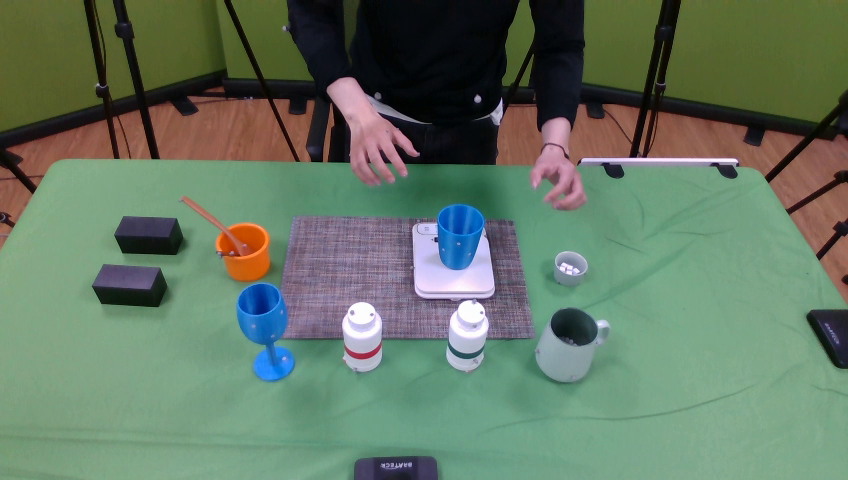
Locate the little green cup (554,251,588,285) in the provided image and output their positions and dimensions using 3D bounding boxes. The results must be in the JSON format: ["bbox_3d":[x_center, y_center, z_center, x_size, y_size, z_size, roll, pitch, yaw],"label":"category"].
[{"bbox_3d":[0.276,0.055,1.151,0.061,0.039,0.061,1,46,-1],"label":"little green cup"}]

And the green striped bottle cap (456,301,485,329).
[{"bbox_3d":[0.073,0.116,0.943,0.044,0.020,0.044,3,46,-3],"label":"green striped bottle cap"}]

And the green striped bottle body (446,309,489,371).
[{"bbox_3d":[0.070,0.155,0.984,0.063,0.120,0.063,2,46,-2],"label":"green striped bottle body"}]

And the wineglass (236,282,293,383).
[{"bbox_3d":[-0.243,0.143,0.934,0.074,0.173,0.073,2,46,-2],"label":"wineglass"}]

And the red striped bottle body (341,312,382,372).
[{"bbox_3d":[-0.100,0.154,0.972,0.063,0.120,0.062,2,46,-1],"label":"red striped bottle body"}]

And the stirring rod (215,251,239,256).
[{"bbox_3d":[-0.339,0.024,1.059,0.014,0.176,0.006,16,86,-6],"label":"stirring rod"}]

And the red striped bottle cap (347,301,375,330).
[{"bbox_3d":[-0.097,0.116,0.934,0.044,0.018,0.044,3,49,-3],"label":"red striped bottle cap"}]

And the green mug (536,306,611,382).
[{"bbox_3d":[0.250,0.167,0.996,0.125,0.105,0.092,-15,48,-18],"label":"green mug"}]

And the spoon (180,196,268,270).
[{"bbox_3d":[-0.360,-0.014,1.095,0.021,0.194,0.041,-27,26,32],"label":"spoon"}]

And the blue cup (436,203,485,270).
[{"bbox_3d":[0.062,-0.001,1.099,0.093,0.101,0.092,2,43,-2],"label":"blue cup"}]

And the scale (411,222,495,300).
[{"bbox_3d":[0.052,0.031,1.158,0.149,0.032,0.199,1,46,-4],"label":"scale"}]
